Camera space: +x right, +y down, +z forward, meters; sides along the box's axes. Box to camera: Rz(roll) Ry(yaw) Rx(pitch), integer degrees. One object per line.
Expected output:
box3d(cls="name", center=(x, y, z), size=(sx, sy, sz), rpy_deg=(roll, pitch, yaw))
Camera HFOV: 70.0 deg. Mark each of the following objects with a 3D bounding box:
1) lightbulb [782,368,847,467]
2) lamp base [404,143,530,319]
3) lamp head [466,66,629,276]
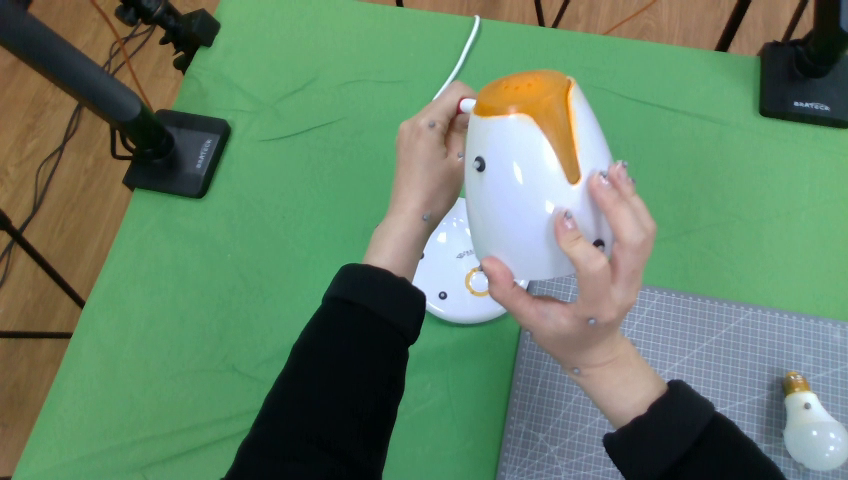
box3d(cls="lightbulb", center=(0.414, 0.188, 0.651), size=(0.059, 0.060, 0.106), rpy_deg=(-2, 53, 3))
box3d(cls="lamp base", center=(0.043, -0.018, 0.686), size=(0.160, 0.181, 0.177), rpy_deg=(-29, 67, -8))
box3d(cls="lamp head", center=(0.075, -0.055, 0.414), size=(0.112, 0.124, 0.111), rpy_deg=(-16, 27, 9))
